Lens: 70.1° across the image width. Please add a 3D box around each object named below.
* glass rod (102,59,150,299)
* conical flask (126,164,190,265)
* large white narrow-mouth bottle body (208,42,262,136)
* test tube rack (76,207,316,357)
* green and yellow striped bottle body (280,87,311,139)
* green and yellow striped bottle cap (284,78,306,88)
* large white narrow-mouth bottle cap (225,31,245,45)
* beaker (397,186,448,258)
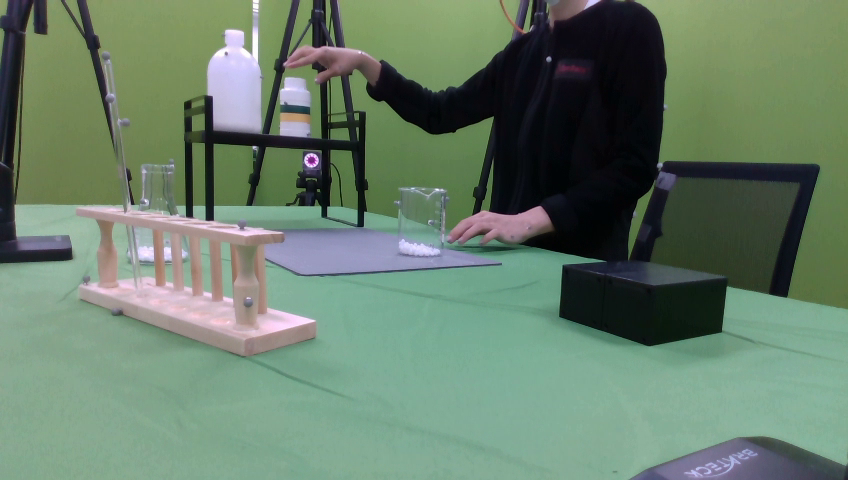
[{"bbox_3d":[-0.243,-0.045,0.496,0.008,0.199,0.008,-4,12,1],"label":"glass rod"},{"bbox_3d":[-0.332,-0.033,0.756,0.075,0.122,0.075,2,7,0],"label":"conical flask"},{"bbox_3d":[-0.368,-0.304,1.181,0.102,0.194,0.101,2,9,0],"label":"large white narrow-mouth bottle body"},{"bbox_3d":[-0.196,0.023,0.500,0.241,0.085,0.067,8,9,36],"label":"test tube rack"},{"bbox_3d":[-0.269,-0.274,1.266,0.063,0.119,0.063,3,7,0],"label":"green and yellow striped bottle body"},{"bbox_3d":[-0.268,-0.325,1.259,0.045,0.020,0.045,5,8,0],"label":"green and yellow striped bottle cap"},{"bbox_3d":[-0.365,-0.389,1.166,0.038,0.024,0.037,2,9,0],"label":"large white narrow-mouth bottle cap"},{"bbox_3d":[-0.002,-0.027,0.890,0.074,0.100,0.084,0,8,-11],"label":"beaker"}]
